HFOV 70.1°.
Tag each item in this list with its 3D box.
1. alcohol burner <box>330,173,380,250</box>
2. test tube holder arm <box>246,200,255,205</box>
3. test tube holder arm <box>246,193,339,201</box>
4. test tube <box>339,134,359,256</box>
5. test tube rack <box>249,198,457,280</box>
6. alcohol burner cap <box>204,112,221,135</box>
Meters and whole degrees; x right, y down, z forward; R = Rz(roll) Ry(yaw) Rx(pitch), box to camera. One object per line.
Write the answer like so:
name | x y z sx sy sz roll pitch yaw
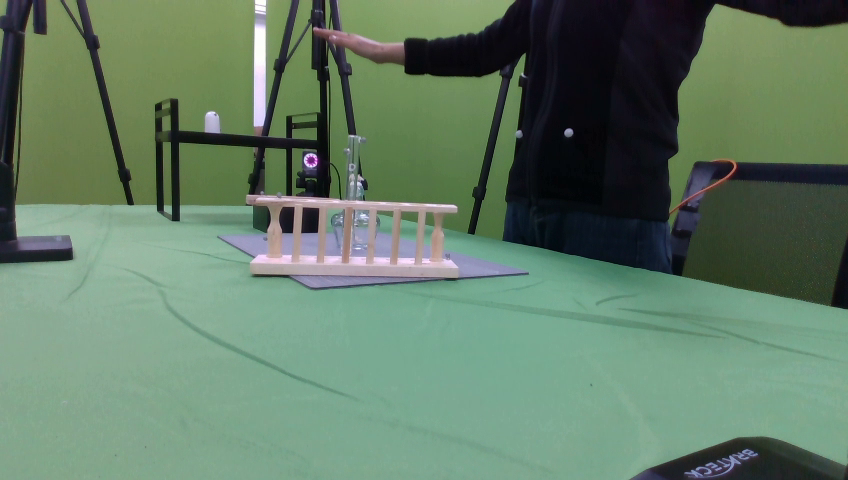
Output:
alcohol burner | -0.107 -0.044 0.938 0.078 0.119 0.078 1 6 0
test tube holder arm | -0.283 -0.072 1.118 0.088 0.010 0.015 -6 21 -31
test tube holder arm | -0.244 -0.081 1.140 0.179 0.013 0.015 -6 21 -31
test tube | -0.092 -0.054 0.743 0.017 0.150 0.017 4 5 0
test tube rack | -0.082 -0.002 0.732 0.243 0.085 0.066 2 8 -7
alcohol burner cap | -0.444 -0.245 1.270 0.034 0.048 0.034 4 8 0
